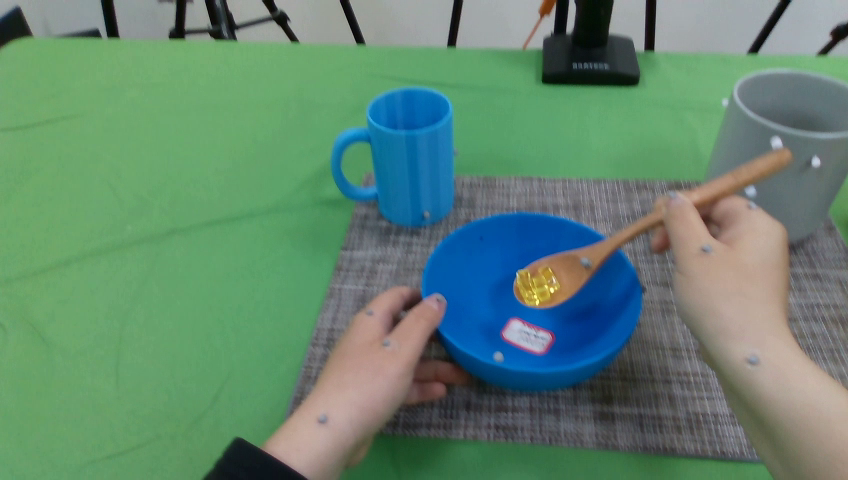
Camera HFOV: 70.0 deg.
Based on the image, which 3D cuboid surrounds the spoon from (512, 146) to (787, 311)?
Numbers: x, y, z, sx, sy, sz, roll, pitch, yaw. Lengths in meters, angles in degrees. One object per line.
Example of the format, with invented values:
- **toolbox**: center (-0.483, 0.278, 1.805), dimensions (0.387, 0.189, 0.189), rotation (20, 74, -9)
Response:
- **spoon**: center (0.140, -0.005, 0.399), dimensions (0.194, 0.022, 0.041), rotation (-35, 43, 28)

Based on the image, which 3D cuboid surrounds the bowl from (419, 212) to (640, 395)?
- **bowl**: center (0.072, 0.057, 0.441), dimensions (0.151, 0.077, 0.150), rotation (-2, 44, 2)

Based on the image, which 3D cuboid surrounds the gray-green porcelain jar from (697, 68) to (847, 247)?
- **gray-green porcelain jar**: center (0.299, -0.066, 0.521), dimensions (0.106, 0.128, 0.105), rotation (-2, 44, 2)

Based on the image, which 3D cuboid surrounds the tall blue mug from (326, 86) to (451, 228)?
- **tall blue mug**: center (-0.026, -0.069, 0.558), dimensions (0.107, 0.109, 0.077), rotation (-30, 50, -25)
